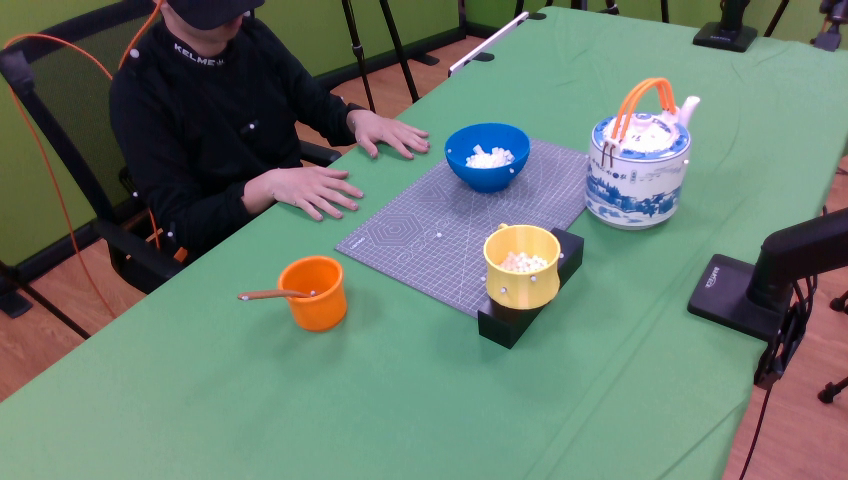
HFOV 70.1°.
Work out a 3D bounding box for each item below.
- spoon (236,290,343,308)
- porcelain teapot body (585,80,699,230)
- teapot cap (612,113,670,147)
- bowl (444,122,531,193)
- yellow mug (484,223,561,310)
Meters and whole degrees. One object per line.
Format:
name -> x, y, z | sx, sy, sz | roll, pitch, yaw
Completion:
spoon -> -0.176, 0.076, 0.808 | 0.041, 0.195, 0.021 | 24, 94, 30
porcelain teapot body -> 0.350, -0.149, 0.936 | 0.206, 0.226, 0.144 | -30, 45, -25
teapot cap -> 0.323, -0.166, 0.900 | 0.085, 0.044, 0.085 | -3, 38, 3
bowl -> 0.112, -0.136, 1.064 | 0.151, 0.077, 0.150 | -4, 41, 4
yellow mug -> 0.126, 0.025, 0.811 | 0.100, 0.064, 0.130 | -16, 39, -9
